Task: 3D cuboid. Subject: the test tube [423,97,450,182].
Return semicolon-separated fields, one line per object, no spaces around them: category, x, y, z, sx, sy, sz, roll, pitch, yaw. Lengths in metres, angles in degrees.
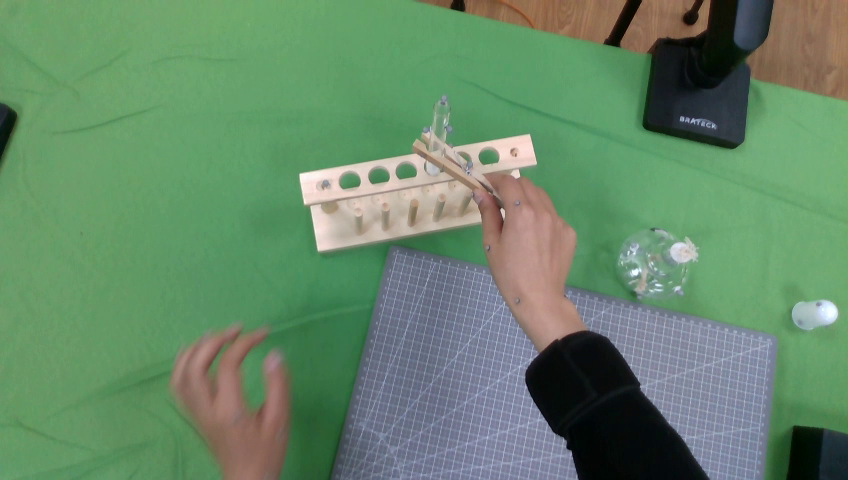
test tube;0.010;-0.090;0.575;0.017;0.151;0.017;1;72;-3

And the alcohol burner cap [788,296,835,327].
alcohol burner cap;0.436;0.079;0.677;0.034;0.048;0.033;0;76;-2

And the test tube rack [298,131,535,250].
test tube rack;-0.005;-0.051;0.654;0.242;0.085;0.066;-11;78;-6

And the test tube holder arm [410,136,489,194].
test tube holder arm;0.025;-0.071;0.580;0.088;0.015;0.010;32;78;4

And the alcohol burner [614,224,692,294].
alcohol burner;0.248;0.017;0.642;0.078;0.119;0.077;1;78;-4

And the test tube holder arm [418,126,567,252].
test tube holder arm;0.065;-0.049;0.577;0.178;0.015;0.013;39;79;5
